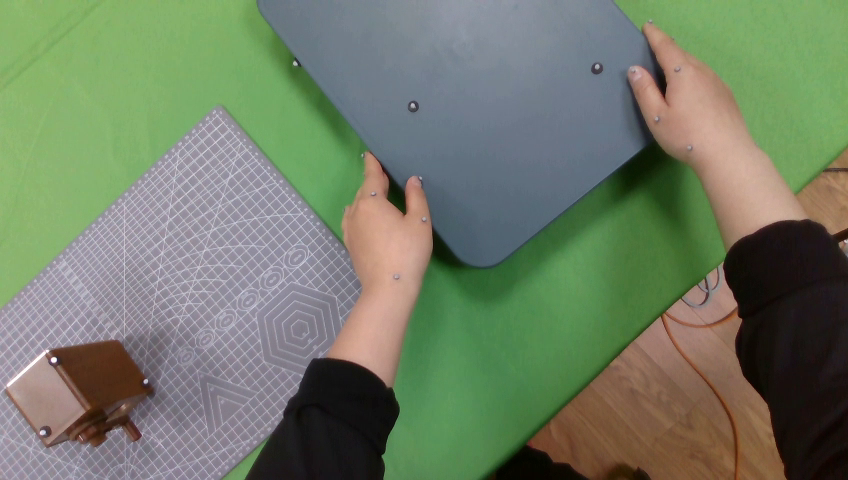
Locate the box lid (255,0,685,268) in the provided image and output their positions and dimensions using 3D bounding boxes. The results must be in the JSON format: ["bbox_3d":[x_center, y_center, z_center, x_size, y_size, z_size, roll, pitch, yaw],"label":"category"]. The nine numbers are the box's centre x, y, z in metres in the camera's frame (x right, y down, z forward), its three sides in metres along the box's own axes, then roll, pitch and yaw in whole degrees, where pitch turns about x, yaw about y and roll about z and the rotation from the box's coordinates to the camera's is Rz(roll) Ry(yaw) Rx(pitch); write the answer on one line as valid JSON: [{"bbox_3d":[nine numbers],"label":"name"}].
[{"bbox_3d":[0.034,-0.186,0.576,0.263,0.015,0.370,-39,84,3],"label":"box lid"}]

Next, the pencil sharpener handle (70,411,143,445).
[{"bbox_3d":[-0.297,0.182,0.574,0.036,0.068,0.030,-41,83,8],"label":"pencil sharpener handle"}]

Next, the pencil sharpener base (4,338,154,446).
[{"bbox_3d":[-0.330,0.146,0.592,0.061,0.107,0.076,-41,83,2],"label":"pencil sharpener base"}]
